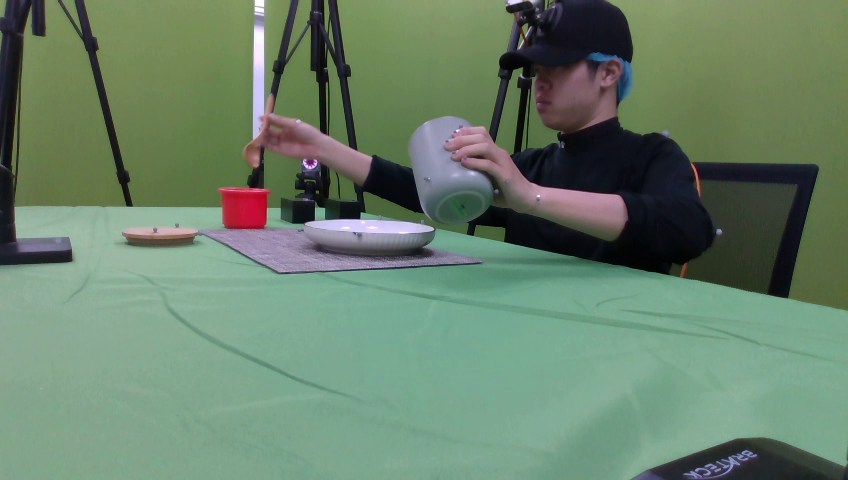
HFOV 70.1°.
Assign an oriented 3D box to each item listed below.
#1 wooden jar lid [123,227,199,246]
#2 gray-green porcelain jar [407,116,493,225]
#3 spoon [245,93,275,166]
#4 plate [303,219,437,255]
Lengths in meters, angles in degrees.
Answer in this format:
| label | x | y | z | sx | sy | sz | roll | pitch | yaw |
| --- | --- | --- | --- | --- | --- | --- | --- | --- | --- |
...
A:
| label | x | y | z | sx | sy | sz | roll | pitch | yaw |
| --- | --- | --- | --- | --- | --- | --- | --- | --- | --- |
| wooden jar lid | -0.408 | -0.006 | 0.942 | 0.108 | 0.020 | 0.108 | 3 | 6 | 0 |
| gray-green porcelain jar | 0.037 | -0.094 | 0.858 | 0.106 | 0.126 | 0.106 | -9 | -34 | -6 |
| spoon | -0.326 | -0.227 | 1.225 | 0.021 | 0.193 | 0.042 | -9 | -37 | 29 |
| plate | -0.084 | -0.005 | 0.952 | 0.208 | 0.039 | 0.207 | 3 | 7 | 0 |
